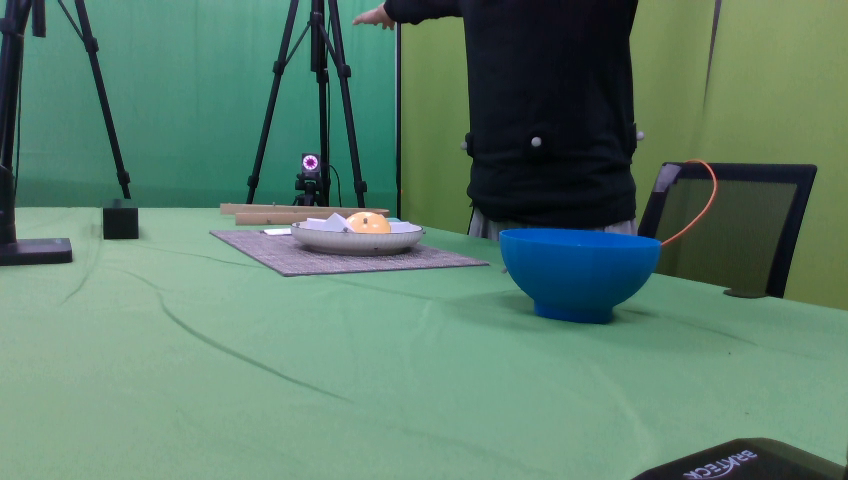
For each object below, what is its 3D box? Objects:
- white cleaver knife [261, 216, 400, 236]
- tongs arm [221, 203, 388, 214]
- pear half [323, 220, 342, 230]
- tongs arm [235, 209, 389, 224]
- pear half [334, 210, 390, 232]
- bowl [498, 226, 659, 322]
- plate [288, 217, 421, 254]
[{"bbox_3d":[-0.169,-0.021,1.156,0.288,0.021,0.065,-7,20,-33],"label":"white cleaver knife"},{"bbox_3d":[-0.271,-0.067,1.415,0.387,0.026,0.050,0,9,-26],"label":"tongs arm"},{"bbox_3d":[-0.127,-0.019,1.001,0.088,0.031,0.070,8,4,1],"label":"pear half"},{"bbox_3d":[-0.232,-0.053,1.347,0.390,0.028,0.028,-3,7,-38],"label":"tongs arm"},{"bbox_3d":[-0.107,-0.017,0.920,0.110,0.056,0.076,-5,5,-20],"label":"pear half"},{"bbox_3d":[0.145,0.032,0.584,0.151,0.077,0.151,2,7,0],"label":"bowl"},{"bbox_3d":[-0.109,-0.007,0.956,0.208,0.039,0.207,2,7,0],"label":"plate"}]
